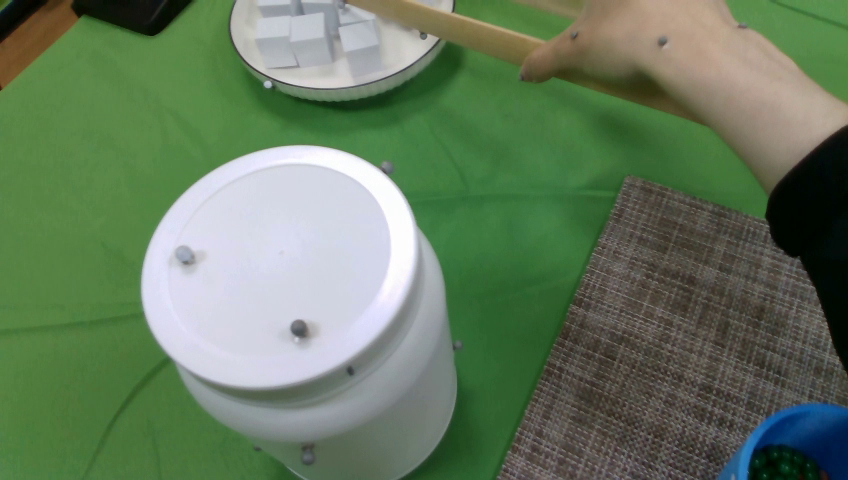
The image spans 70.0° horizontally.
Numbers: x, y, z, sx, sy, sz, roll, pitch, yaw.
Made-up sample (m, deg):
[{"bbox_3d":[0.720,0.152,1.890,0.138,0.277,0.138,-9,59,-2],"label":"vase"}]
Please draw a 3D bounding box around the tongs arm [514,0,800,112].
[{"bbox_3d":[0.096,-0.181,0.464,0.028,0.028,0.383,-33,50,-26],"label":"tongs arm"}]

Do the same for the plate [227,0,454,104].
[{"bbox_3d":[-0.074,-0.201,0.564,0.207,0.039,0.205,-2,59,4],"label":"plate"}]

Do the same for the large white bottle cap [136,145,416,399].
[{"bbox_3d":[-0.061,0.008,0.254,0.115,0.018,0.114,-2,59,4],"label":"large white bottle cap"}]

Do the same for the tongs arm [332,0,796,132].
[{"bbox_3d":[0.061,-0.153,0.444,0.051,0.027,0.381,-39,52,-25],"label":"tongs arm"}]

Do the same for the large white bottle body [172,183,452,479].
[{"bbox_3d":[-0.053,0.053,0.326,0.130,0.186,0.129,-2,59,4],"label":"large white bottle body"}]

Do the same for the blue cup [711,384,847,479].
[{"bbox_3d":[0.183,0.135,0.300,0.092,0.101,0.092,-4,58,6],"label":"blue cup"}]
